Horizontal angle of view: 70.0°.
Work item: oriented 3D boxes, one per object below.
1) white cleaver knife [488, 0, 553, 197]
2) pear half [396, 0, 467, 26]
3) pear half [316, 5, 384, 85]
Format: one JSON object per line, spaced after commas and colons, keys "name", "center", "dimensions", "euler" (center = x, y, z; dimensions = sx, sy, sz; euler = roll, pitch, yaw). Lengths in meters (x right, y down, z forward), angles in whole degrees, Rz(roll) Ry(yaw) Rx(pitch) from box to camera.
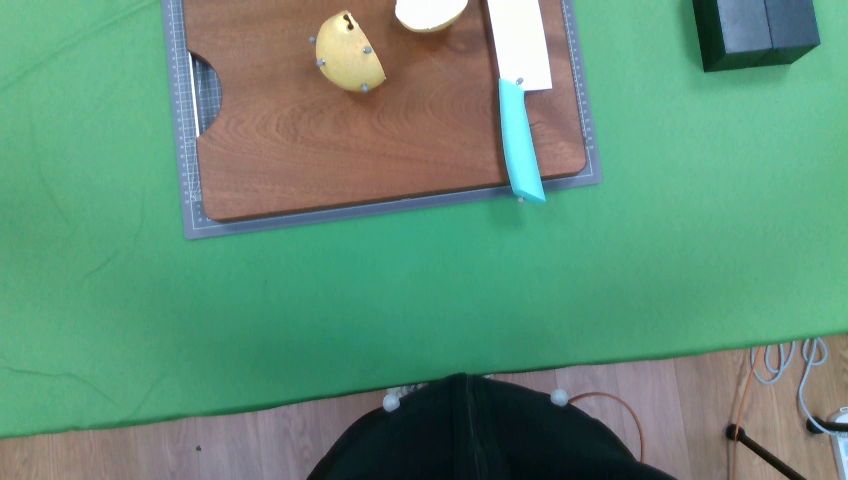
{"name": "white cleaver knife", "center": [0.104, -0.186, 0.629], "dimensions": [0.066, 0.021, 0.286], "euler": [-6, 86, -11]}
{"name": "pear half", "center": [0.013, -0.248, 0.628], "dimensions": [0.070, 0.031, 0.088], "euler": [39, 71, 19]}
{"name": "pear half", "center": [-0.077, -0.188, 0.583], "dimensions": [0.056, 0.110, 0.076], "euler": [-37, 82, -4]}
